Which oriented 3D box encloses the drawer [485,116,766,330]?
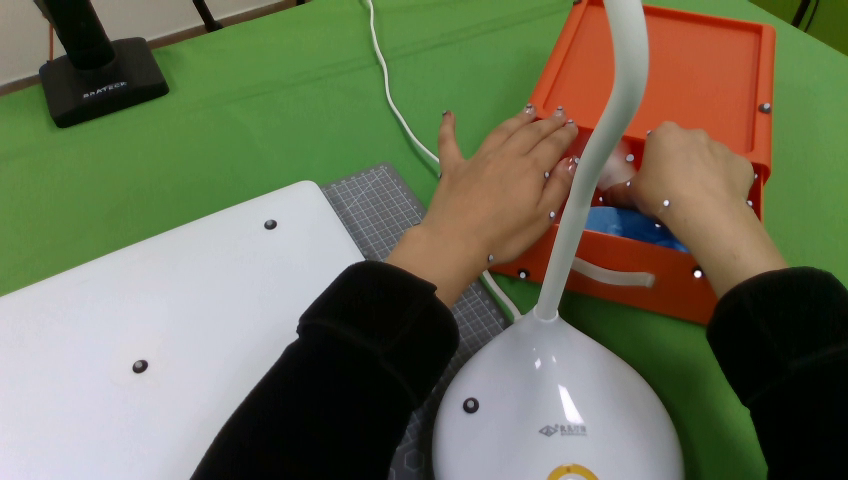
[{"bbox_3d":[0.172,-0.047,0.508,0.194,0.074,0.210,14,51,14],"label":"drawer"}]

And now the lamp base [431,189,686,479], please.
[{"bbox_3d":[0.081,0.074,0.339,0.161,0.182,0.177,-9,48,-8],"label":"lamp base"}]

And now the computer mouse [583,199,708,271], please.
[{"bbox_3d":[0.166,0.004,0.476,0.117,0.041,0.062,15,47,4],"label":"computer mouse"}]

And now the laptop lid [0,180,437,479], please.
[{"bbox_3d":[-0.196,0.091,0.427,0.357,0.013,0.239,-23,55,-16],"label":"laptop lid"}]

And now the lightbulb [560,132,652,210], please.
[{"bbox_3d":[0.160,-0.053,0.524,0.059,0.060,0.106,-16,37,-10],"label":"lightbulb"}]

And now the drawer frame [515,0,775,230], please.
[{"bbox_3d":[0.210,-0.130,0.572,0.201,0.083,0.212,15,51,15],"label":"drawer frame"}]

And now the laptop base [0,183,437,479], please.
[{"bbox_3d":[-0.197,0.096,0.437,0.355,0.023,0.233,-24,57,-18],"label":"laptop base"}]
